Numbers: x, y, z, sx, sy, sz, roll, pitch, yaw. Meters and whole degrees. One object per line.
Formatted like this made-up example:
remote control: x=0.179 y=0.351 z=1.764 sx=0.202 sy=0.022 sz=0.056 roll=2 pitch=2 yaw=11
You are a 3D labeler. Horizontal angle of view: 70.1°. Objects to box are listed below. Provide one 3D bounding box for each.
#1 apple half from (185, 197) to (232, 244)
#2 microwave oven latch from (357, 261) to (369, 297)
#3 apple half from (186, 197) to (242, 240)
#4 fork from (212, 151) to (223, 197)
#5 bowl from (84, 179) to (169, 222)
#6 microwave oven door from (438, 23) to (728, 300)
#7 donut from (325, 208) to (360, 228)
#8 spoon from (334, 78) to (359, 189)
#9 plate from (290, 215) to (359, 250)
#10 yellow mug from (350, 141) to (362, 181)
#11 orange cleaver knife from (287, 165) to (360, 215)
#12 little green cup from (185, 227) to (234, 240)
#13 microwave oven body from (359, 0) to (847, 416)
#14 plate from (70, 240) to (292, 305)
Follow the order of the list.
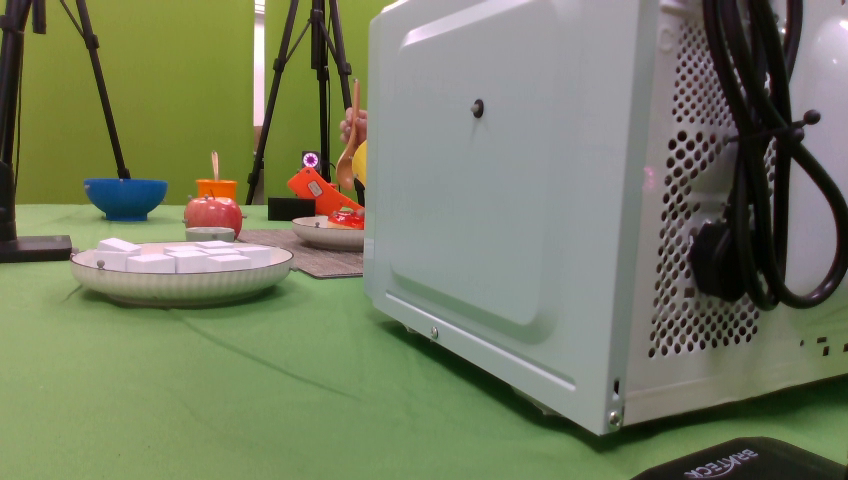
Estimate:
apple half: x=-0.337 y=-0.031 z=0.927 sx=0.032 sy=0.081 sz=0.082 roll=13 pitch=12 yaw=37
microwave oven latch: x=-0.019 y=0.033 z=0.531 sx=0.079 sy=0.029 sz=0.030 roll=-1 pitch=7 yaw=-27
apple half: x=-0.306 y=-0.026 z=0.904 sx=0.053 sy=0.074 sz=0.081 roll=14 pitch=9 yaw=37
fork: x=-0.494 y=-0.143 z=1.442 sx=0.028 sy=0.018 sz=0.206 roll=-2 pitch=52 yaw=-20
bowl: x=-0.584 y=-0.078 z=1.194 sx=0.151 sy=0.077 sz=0.151 roll=3 pitch=8 yaw=0
microwave oven door: x=0.181 y=-0.072 z=0.621 sx=0.358 sy=0.243 sz=0.039 roll=-2 pitch=8 yaw=-29
donut: x=-0.110 y=-0.025 z=0.974 sx=0.099 sy=0.048 sz=0.099 roll=5 pitch=8 yaw=0
spoon: x=-0.121 y=-0.177 z=0.996 sx=0.021 sy=0.193 sz=0.042 roll=1 pitch=-13 yaw=35
plate: x=-0.110 y=-0.013 z=0.973 sx=0.209 sy=0.038 sz=0.209 roll=2 pitch=8 yaw=0
yellow mug: x=-0.049 y=-0.119 z=0.901 sx=0.100 sy=0.130 sz=0.063 roll=-9 pitch=48 yaw=-31
orange cleaver knife: x=-0.211 y=-0.093 z=1.382 sx=0.212 sy=0.077 sz=0.012 roll=33 pitch=1 yaw=-15
little green cup: x=-0.285 y=0.005 z=0.805 sx=0.061 sy=0.038 sz=0.061 roll=2 pitch=8 yaw=0
microwave oven body: x=0.211 y=-0.047 z=0.474 sx=0.444 sy=0.260 sz=0.324 roll=-1 pitch=7 yaw=-28
plate: x=-0.242 y=0.031 z=0.618 sx=0.208 sy=0.039 sz=0.207 roll=2 pitch=8 yaw=0
